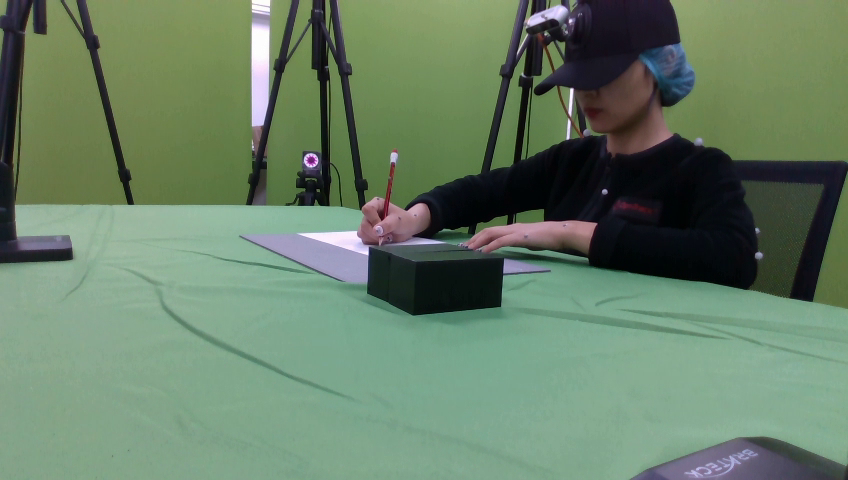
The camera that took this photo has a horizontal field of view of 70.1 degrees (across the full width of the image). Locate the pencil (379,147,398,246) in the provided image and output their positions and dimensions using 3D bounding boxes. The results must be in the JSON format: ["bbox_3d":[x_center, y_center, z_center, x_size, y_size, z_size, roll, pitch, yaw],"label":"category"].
[{"bbox_3d":[-0.058,-0.074,0.988,0.012,0.193,0.012,5,-30,3],"label":"pencil"}]
